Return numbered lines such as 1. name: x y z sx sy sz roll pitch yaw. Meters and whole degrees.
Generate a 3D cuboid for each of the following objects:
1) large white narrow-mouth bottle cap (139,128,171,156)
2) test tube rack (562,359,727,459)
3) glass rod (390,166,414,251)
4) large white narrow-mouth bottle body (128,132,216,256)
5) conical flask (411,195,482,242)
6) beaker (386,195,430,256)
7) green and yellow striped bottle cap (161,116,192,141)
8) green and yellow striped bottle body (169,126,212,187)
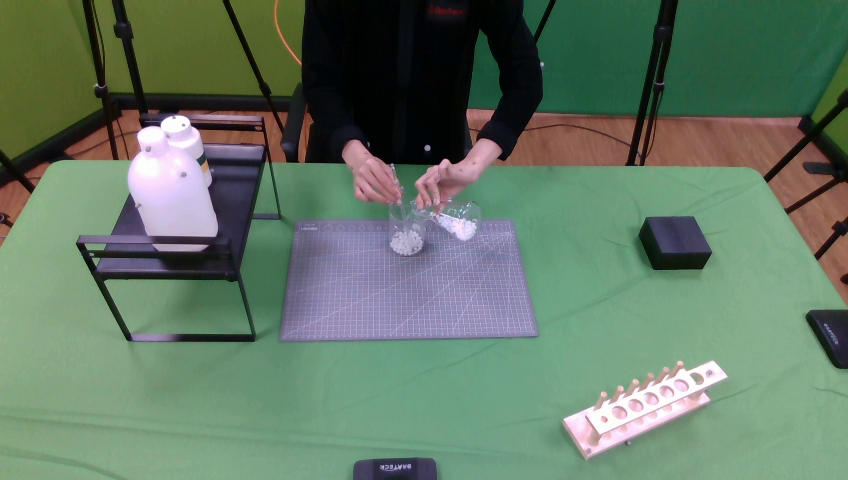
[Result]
1. large white narrow-mouth bottle cap: -0.358 -0.131 0.808 0.038 0.024 0.037 3 47 -3
2. test tube rack: 0.341 0.247 0.940 0.243 0.085 0.066 -16 49 -18
3. glass rod: -0.039 -0.053 1.113 0.008 0.201 0.008 -7 40 7
4. large white narrow-mouth bottle body: -0.366 -0.073 0.872 0.102 0.195 0.101 3 47 -3
5. conical flask: 0.035 -0.048 1.080 0.121 0.076 0.075 20 47 32
6. beaker: -0.031 -0.024 1.161 0.084 0.101 0.073 18 48 12
7. green and yellow striped bottle cap: -0.387 -0.174 0.946 0.045 0.020 0.045 3 44 -3
8. green and yellow striped bottle body: -0.389 -0.139 0.984 0.063 0.120 0.063 2 46 -2
